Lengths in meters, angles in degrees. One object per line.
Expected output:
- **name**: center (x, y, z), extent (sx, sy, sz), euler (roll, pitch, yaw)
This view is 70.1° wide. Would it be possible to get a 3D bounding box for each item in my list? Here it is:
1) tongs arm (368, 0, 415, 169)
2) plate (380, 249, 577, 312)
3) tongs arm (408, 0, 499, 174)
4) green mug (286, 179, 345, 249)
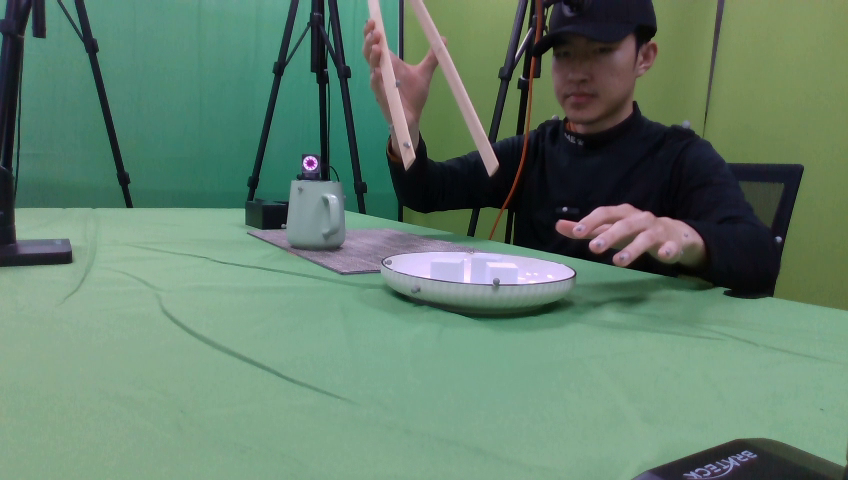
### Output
- **tongs arm**: center (-0.039, -0.249, 0.804), extent (0.051, 0.383, 0.026), euler (1, -33, -25)
- **plate**: center (0.056, 0.042, 0.646), extent (0.209, 0.038, 0.209), euler (2, 7, 0)
- **tongs arm**: center (0.020, -0.249, 0.834), extent (0.028, 0.386, 0.027), euler (-9, -28, -26)
- **green mug**: center (-0.161, -0.040, 0.937), extent (0.093, 0.105, 0.124), euler (-2, 8, -32)
